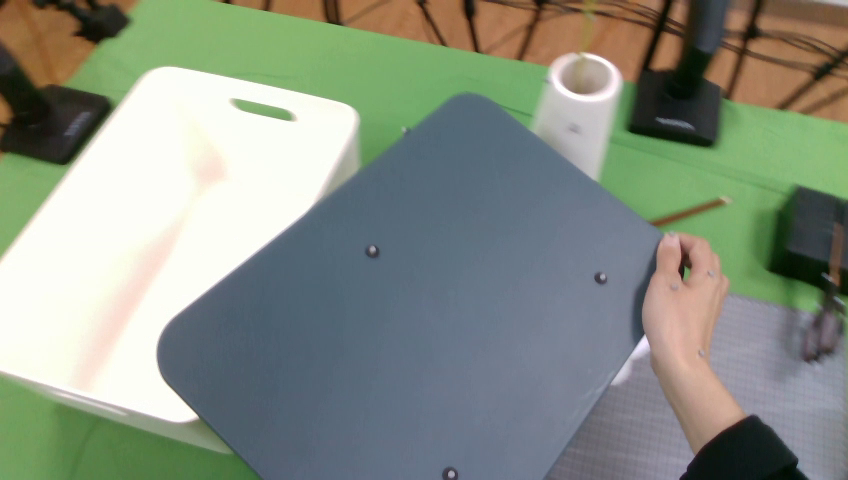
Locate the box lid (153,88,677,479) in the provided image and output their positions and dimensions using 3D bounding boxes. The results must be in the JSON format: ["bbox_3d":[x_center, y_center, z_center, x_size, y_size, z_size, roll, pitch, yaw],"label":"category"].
[{"bbox_3d":[0.021,0.044,0.471,0.262,0.015,0.371,41,62,8],"label":"box lid"}]

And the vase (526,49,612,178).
[{"bbox_3d":[0.159,-0.121,0.701,0.098,0.202,0.097,-1,57,2],"label":"vase"}]

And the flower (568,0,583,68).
[{"bbox_3d":[0.154,-0.177,0.638,0.044,0.365,0.038,8,42,10],"label":"flower"}]

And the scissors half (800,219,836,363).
[{"bbox_3d":[0.438,0.053,0.667,0.013,0.040,0.174,19,74,8],"label":"scissors half"}]

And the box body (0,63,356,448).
[{"bbox_3d":[-0.241,0.011,0.648,0.253,0.162,0.361,13,60,9],"label":"box body"}]

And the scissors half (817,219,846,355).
[{"bbox_3d":[0.438,0.044,0.649,0.012,0.040,0.174,17,56,13],"label":"scissors half"}]

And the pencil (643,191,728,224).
[{"bbox_3d":[0.297,-0.031,0.754,0.194,0.012,0.012,-19,60,-10],"label":"pencil"}]
